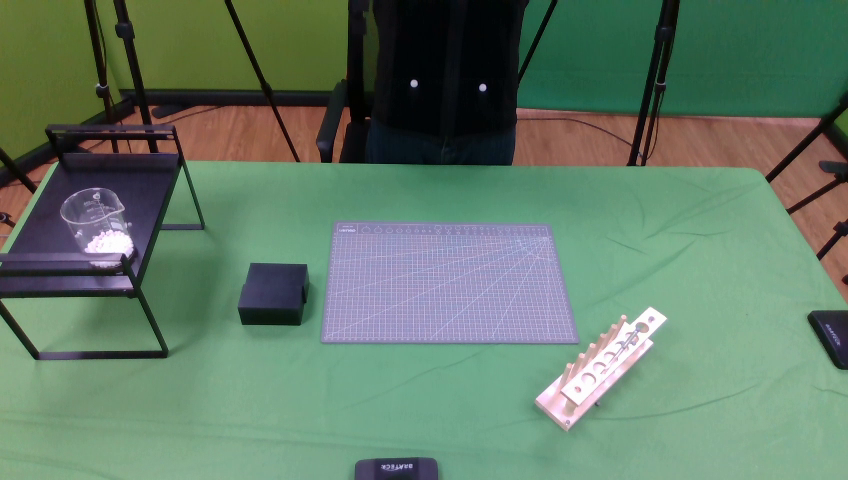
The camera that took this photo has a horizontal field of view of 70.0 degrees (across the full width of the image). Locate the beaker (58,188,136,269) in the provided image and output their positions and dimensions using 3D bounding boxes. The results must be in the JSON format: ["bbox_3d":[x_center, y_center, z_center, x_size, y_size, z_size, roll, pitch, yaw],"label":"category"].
[{"bbox_3d":[-0.462,-0.014,0.871,0.084,0.101,0.073,-1,47,-5],"label":"beaker"}]

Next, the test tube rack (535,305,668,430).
[{"bbox_3d":[0.290,0.193,0.984,0.242,0.085,0.066,-32,56,-30],"label":"test tube rack"}]

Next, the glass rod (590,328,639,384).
[{"bbox_3d":[0.279,0.182,0.903,0.008,0.200,0.008,4,52,-6],"label":"glass rod"}]
